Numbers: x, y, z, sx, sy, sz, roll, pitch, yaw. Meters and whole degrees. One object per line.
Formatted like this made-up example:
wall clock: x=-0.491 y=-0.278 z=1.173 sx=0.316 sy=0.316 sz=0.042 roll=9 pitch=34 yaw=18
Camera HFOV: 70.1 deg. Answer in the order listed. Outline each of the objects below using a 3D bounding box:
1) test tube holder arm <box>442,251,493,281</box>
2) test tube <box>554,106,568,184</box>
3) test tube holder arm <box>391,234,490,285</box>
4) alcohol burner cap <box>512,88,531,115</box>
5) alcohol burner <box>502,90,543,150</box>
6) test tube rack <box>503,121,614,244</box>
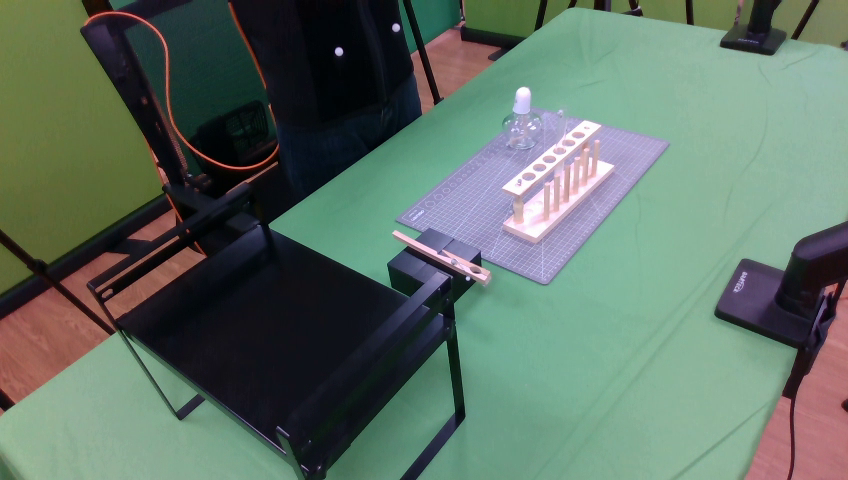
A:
test tube holder arm: x=0.058 y=0.036 z=0.851 sx=0.087 sy=0.015 sz=0.010 roll=23 pitch=56 yaw=32
test tube: x=0.223 y=-0.151 z=0.987 sx=0.017 sy=0.151 sz=0.017 roll=-4 pitch=43 yaw=4
test tube holder arm: x=0.020 y=0.025 z=0.872 sx=0.177 sy=0.015 sz=0.013 roll=22 pitch=56 yaw=32
alcohol burner cap: x=0.183 y=-0.260 z=1.123 sx=0.034 sy=0.048 sz=0.033 roll=0 pitch=42 yaw=0
alcohol burner: x=0.186 y=-0.233 z=1.147 sx=0.078 sy=0.119 sz=0.077 roll=-5 pitch=43 yaw=5
test tube rack: x=0.230 y=-0.101 z=1.006 sx=0.066 sy=0.085 sz=0.243 roll=26 pitch=50 yaw=34
